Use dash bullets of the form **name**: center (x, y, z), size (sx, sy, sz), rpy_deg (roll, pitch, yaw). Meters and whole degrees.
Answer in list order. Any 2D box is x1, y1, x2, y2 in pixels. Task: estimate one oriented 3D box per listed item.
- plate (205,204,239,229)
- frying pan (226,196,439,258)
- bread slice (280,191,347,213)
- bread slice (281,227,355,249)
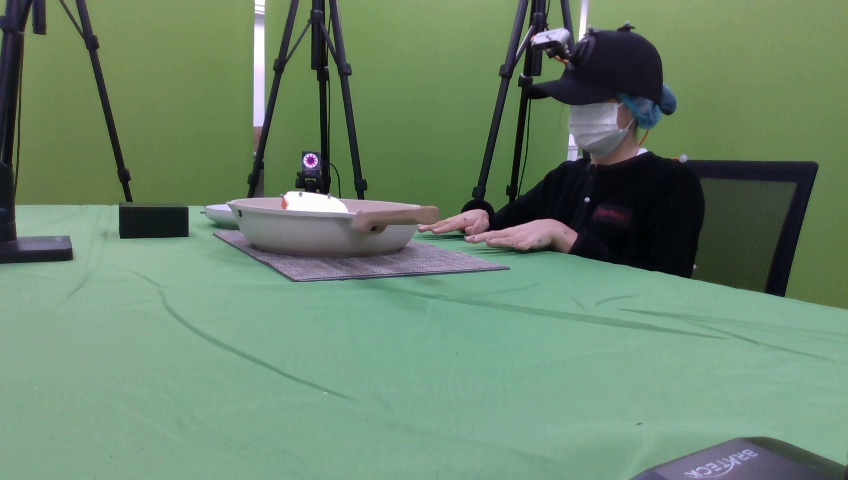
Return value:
- **plate**: center (-0.324, -0.046, 1.199), size (0.208, 0.039, 0.207), rpy_deg (3, 7, 0)
- **frying pan**: center (-0.103, -0.027, 0.845), size (0.308, 0.102, 0.486), rpy_deg (-1, 0, -25)
- **bread slice**: center (-0.171, -0.049, 0.934), size (0.105, 0.019, 0.131), rpy_deg (7, 17, -20)
- **bread slice**: center (-0.170, -0.005, 0.943), size (0.107, 0.018, 0.134), rpy_deg (2, 7, -15)
